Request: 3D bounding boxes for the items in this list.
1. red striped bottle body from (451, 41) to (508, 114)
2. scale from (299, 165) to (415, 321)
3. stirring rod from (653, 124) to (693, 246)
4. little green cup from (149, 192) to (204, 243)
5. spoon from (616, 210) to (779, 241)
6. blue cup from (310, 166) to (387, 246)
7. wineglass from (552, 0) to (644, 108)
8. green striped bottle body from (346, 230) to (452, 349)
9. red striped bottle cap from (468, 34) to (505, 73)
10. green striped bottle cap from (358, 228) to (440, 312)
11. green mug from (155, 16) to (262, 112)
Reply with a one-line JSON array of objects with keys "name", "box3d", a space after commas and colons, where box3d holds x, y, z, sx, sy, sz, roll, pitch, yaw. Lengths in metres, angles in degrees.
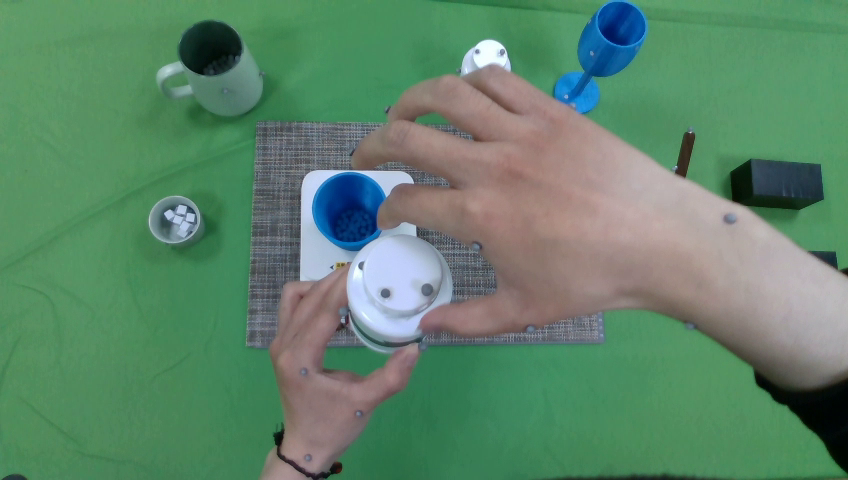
[{"name": "red striped bottle body", "box3d": [0.073, -0.217, 0.794, 0.063, 0.120, 0.062, 1, 77, -4]}, {"name": "scale", "box3d": [-0.085, 0.001, 0.776, 0.149, 0.031, 0.200, -1, 78, -4]}, {"name": "stirring rod", "box3d": [0.313, -0.064, 0.765, 0.014, 0.177, 0.006, 5, 36, 10]}, {"name": "little green cup", "box3d": [-0.309, -0.026, 0.764, 0.061, 0.039, 0.061, 1, 77, -5]}, {"name": "spoon", "box3d": [0.333, -0.013, 0.756, 0.022, 0.192, 0.041, 20, 81, -44]}, {"name": "blue cup", "box3d": [-0.086, -0.032, 0.716, 0.093, 0.100, 0.092, 1, 80, -4]}, {"name": "wineglass", "box3d": [0.219, -0.238, 0.782, 0.074, 0.173, 0.073, 1, 77, -3]}, {"name": "green striped bottle body", "box3d": [-0.018, 0.033, 0.386, 0.063, 0.119, 0.063, 2, 74, -6]}, {"name": "red striped bottle cap", "box3d": [0.076, -0.229, 0.742, 0.044, 0.018, 0.044, 1, 75, -3]}, {"name": "green striped bottle cap", "box3d": [-0.014, 0.016, 0.331, 0.044, 0.020, 0.044, 2, 72, -6]}, {"name": "green mug", "box3d": [-0.278, -0.217, 0.774, 0.125, 0.105, 0.092, -22, 80, -8]}]
